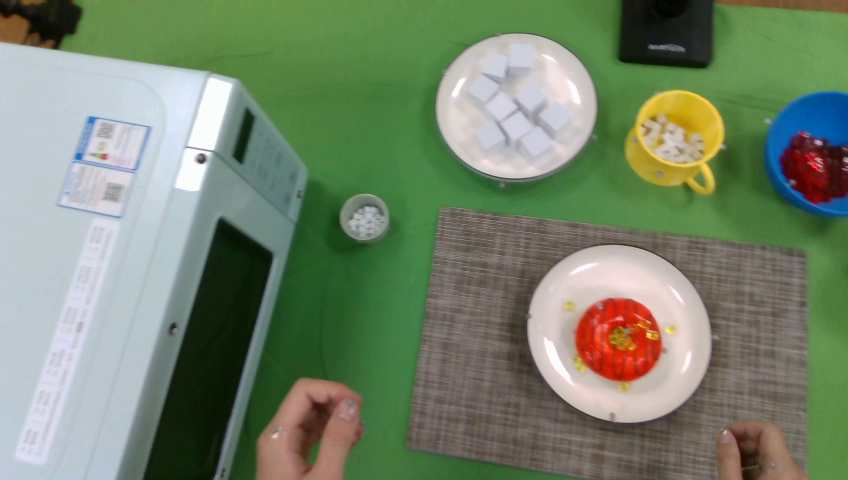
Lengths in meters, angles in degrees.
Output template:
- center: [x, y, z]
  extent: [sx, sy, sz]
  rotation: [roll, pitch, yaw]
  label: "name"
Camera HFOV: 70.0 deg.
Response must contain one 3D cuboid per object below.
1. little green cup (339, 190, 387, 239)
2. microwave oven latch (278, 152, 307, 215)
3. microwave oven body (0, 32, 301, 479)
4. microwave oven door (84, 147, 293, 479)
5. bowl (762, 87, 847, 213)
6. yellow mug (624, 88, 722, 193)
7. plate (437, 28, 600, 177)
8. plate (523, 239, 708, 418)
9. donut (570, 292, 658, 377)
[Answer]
- center: [-0.076, -0.030, 0.776]
  extent: [0.061, 0.039, 0.061]
  rotation: [-1, 78, 5]
  label: "little green cup"
- center: [-0.173, -0.074, 0.777]
  extent: [0.030, 0.029, 0.079]
  rotation: [12, 78, 8]
  label: "microwave oven latch"
- center: [-0.364, 0.044, 0.667]
  extent: [0.325, 0.261, 0.440]
  rotation: [11, 78, 7]
  label: "microwave oven body"
- center: [-0.232, 0.110, 0.633]
  extent: [0.039, 0.245, 0.354]
  rotation: [10, 77, 8]
  label: "microwave oven door"
- center: [0.471, -0.096, 0.722]
  extent: [0.151, 0.077, 0.150]
  rotation: [-1, 77, 5]
  label: "bowl"
- center: [0.314, -0.115, 0.748]
  extent: [0.100, 0.064, 0.130]
  rotation: [-29, 76, -2]
  label: "yellow mug"
- center: [0.122, -0.177, 0.795]
  extent: [0.207, 0.039, 0.206]
  rotation: [-1, 76, 5]
  label: "plate"
- center: [0.220, 0.102, 0.713]
  extent: [0.209, 0.038, 0.208]
  rotation: [-1, 77, 5]
  label: "plate"
- center: [0.219, 0.108, 0.701]
  extent: [0.099, 0.048, 0.098]
  rotation: [-1, 79, 7]
  label: "donut"
